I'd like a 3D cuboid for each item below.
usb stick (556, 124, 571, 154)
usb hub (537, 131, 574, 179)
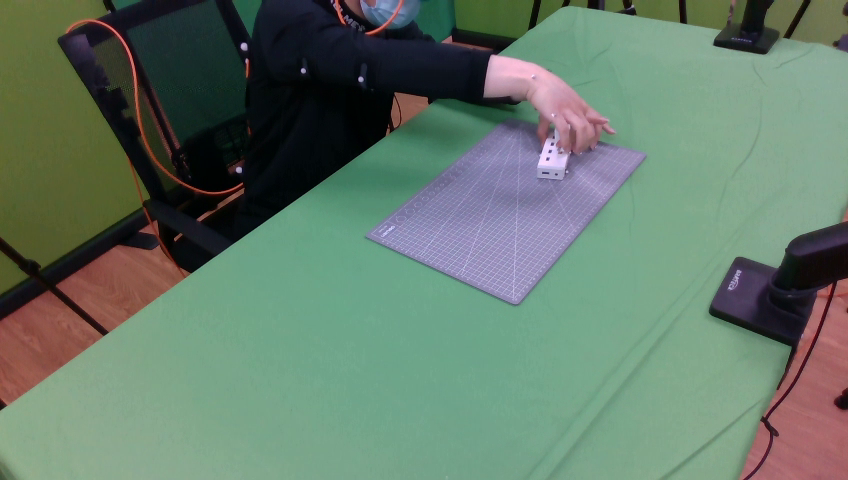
[{"bbox_3d":[0.248,-0.177,1.078,0.027,0.059,0.021,4,42,14],"label":"usb stick"},{"bbox_3d":[0.243,-0.158,1.112,0.049,0.025,0.125,8,44,17],"label":"usb hub"}]
